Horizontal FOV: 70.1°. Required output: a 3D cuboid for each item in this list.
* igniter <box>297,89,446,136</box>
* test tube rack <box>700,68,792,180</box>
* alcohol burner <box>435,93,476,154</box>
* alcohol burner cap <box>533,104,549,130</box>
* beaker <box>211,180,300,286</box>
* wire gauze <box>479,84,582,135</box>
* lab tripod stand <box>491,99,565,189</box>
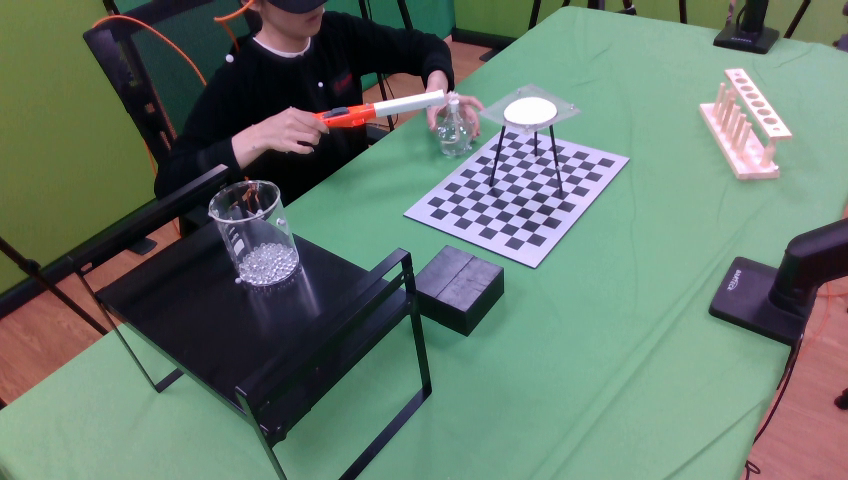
[{"bbox_3d":[-0.097,-0.232,1.097,0.277,0.057,0.025,-13,71,-2],"label":"igniter"},{"bbox_3d":[0.571,-0.215,1.089,0.066,0.085,0.241,-3,41,7],"label":"test tube rack"},{"bbox_3d":[0.060,-0.224,1.145,0.078,0.119,0.077,-1,39,1],"label":"alcohol burner"},{"bbox_3d":[0.235,-0.251,1.217,0.034,0.048,0.033,-5,41,5],"label":"alcohol burner cap"},{"bbox_3d":[-0.183,-0.007,0.674,0.074,0.101,0.083,-1,40,7],"label":"beaker"},{"bbox_3d":[0.176,-0.216,1.006,0.125,0.011,0.120,-29,46,-22],"label":"wire gauze"},{"bbox_3d":[0.184,-0.163,1.046,0.148,0.132,0.147,-5,42,5],"label":"lab tripod stand"}]
